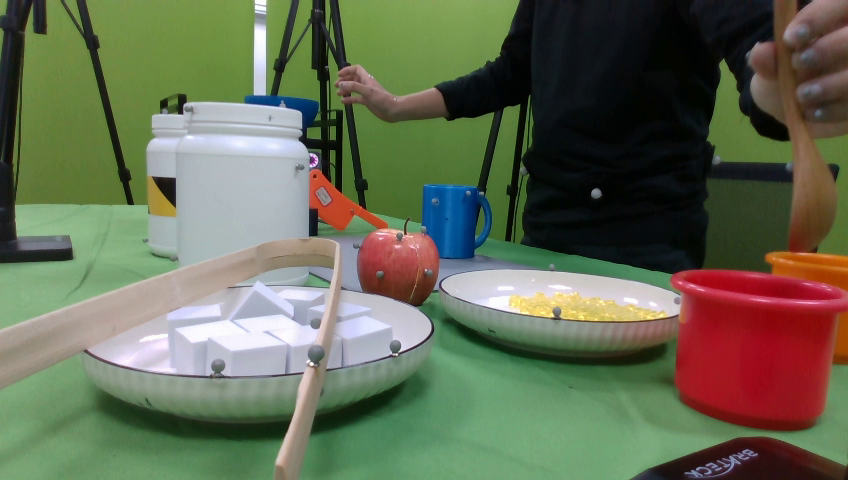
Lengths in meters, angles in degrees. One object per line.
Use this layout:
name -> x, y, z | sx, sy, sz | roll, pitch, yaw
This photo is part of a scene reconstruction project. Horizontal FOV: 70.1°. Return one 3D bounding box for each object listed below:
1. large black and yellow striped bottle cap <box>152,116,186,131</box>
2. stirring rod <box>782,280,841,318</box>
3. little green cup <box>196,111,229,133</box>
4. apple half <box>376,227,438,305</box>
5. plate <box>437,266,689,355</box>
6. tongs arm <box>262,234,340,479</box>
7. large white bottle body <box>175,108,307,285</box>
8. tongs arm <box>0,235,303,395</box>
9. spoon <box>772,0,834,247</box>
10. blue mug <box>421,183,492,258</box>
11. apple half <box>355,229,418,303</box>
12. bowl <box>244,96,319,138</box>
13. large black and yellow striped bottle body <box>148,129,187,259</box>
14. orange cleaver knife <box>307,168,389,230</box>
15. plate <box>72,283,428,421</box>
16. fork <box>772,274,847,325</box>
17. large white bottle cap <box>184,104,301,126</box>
large black and yellow striped bottle cap -> -0.309, -0.155, 0.826 | 0.115, 0.019, 0.115 | 3, 6, 0
stirring rod -> 0.345, 0.019, 0.460 | 0.014, 0.006, 0.176 | -13, -27, -30
little green cup -> -0.403, -0.225, 1.154 | 0.061, 0.038, 0.061 | 3, 8, 0
apple half -> -0.017, 0.026, 0.593 | 0.080, 0.074, 0.053 | 4, 2, 43
plate -> 0.114, 0.057, 0.518 | 0.209, 0.038, 0.209 | 3, 7, 0
tongs arm -> -0.074, 0.039, 0.349 | 0.051, 0.026, 0.384 | -2, 10, -3
large white bottle body -> -0.188, -0.042, 0.630 | 0.131, 0.184, 0.130 | 2, 8, 0
tongs arm -> -0.157, 0.038, 0.351 | 0.028, 0.028, 0.388 | -3, 9, 12
spoon -> 0.215, -0.088, 0.351 | 0.042, 0.193, 0.021 | -18, 11, -22
blue mug -> 0.052, -0.032, 0.912 | 0.117, 0.106, 0.082 | -1, 8, -24
apple half -> -0.043, 0.027, 0.564 | 0.081, 0.081, 0.033 | 9, 5, 42
bowl -> -0.294, -0.252, 1.254 | 0.151, 0.077, 0.151 | 2, 7, 0
large black and yellow striped bottle body -> -0.310, -0.073, 0.838 | 0.131, 0.184, 0.130 | 2, 8, 0
orange cleaver knife -> -0.158, -0.060, 1.166 | 0.212, 0.077, 0.012 | 34, -12, -32
plate -> -0.102, 0.066, 0.381 | 0.208, 0.039, 0.207 | 2, 7, 0
fork -> 0.332, 0.018, 0.442 | 0.028, 0.018, 0.207 | 1, -36, -14
large white bottle cap -> -0.184, -0.126, 0.618 | 0.115, 0.018, 0.115 | 2, 8, 0
